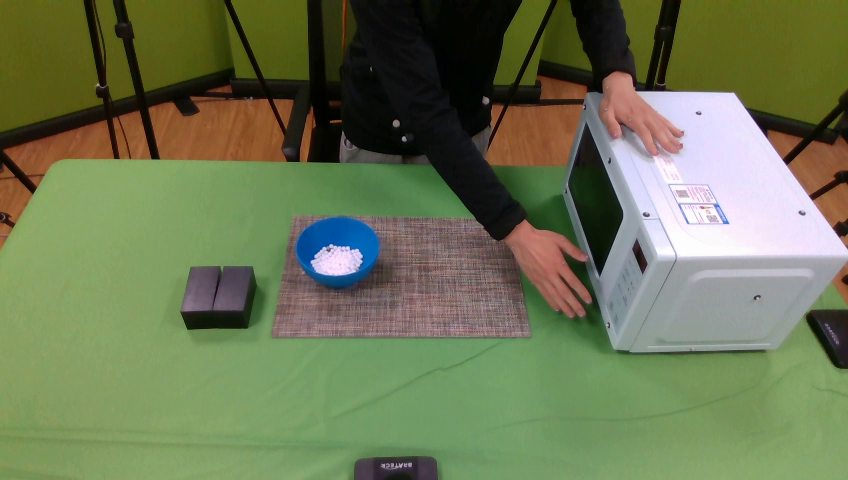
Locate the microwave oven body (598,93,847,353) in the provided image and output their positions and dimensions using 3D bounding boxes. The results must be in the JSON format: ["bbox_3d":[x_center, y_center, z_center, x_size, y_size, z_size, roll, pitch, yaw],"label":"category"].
[{"bbox_3d":[0.475,-0.041,1.109,0.326,0.261,0.438,-1,45,-4],"label":"microwave oven body"}]

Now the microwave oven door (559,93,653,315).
[{"bbox_3d":[0.327,-0.074,1.123,0.039,0.245,0.353,-1,46,-5],"label":"microwave oven door"}]

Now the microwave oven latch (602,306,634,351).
[{"bbox_3d":[0.332,0.153,1.044,0.030,0.029,0.078,0,45,-4],"label":"microwave oven latch"}]

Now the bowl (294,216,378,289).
[{"bbox_3d":[-0.158,0.036,1.110,0.151,0.077,0.150,3,45,-2],"label":"bowl"}]
